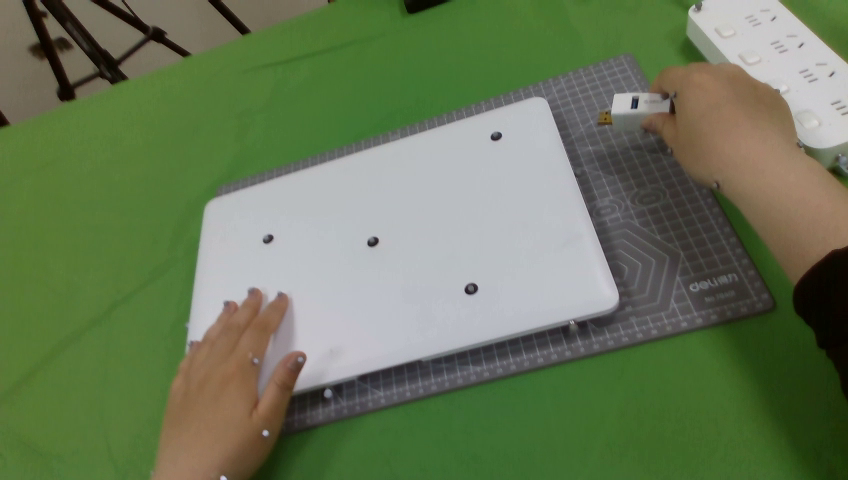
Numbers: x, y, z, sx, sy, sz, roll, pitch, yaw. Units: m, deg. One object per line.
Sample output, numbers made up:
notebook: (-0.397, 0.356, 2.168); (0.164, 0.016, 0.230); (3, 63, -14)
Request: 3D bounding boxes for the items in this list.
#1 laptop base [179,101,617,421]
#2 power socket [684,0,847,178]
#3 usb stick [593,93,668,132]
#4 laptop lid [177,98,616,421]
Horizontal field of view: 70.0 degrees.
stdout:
laptop base: (-0.040, 0.010, 0.527); (0.354, 0.023, 0.233); (-16, 53, 9)
power socket: (0.294, -0.140, 0.505); (0.072, 0.033, 0.224); (-18, 49, 6)
usb stick: (0.167, -0.104, 0.496); (0.059, 0.027, 0.021); (2, 64, 30)
laptop lid: (-0.043, 0.005, 0.516); (0.356, 0.013, 0.239); (-15, 52, 10)
